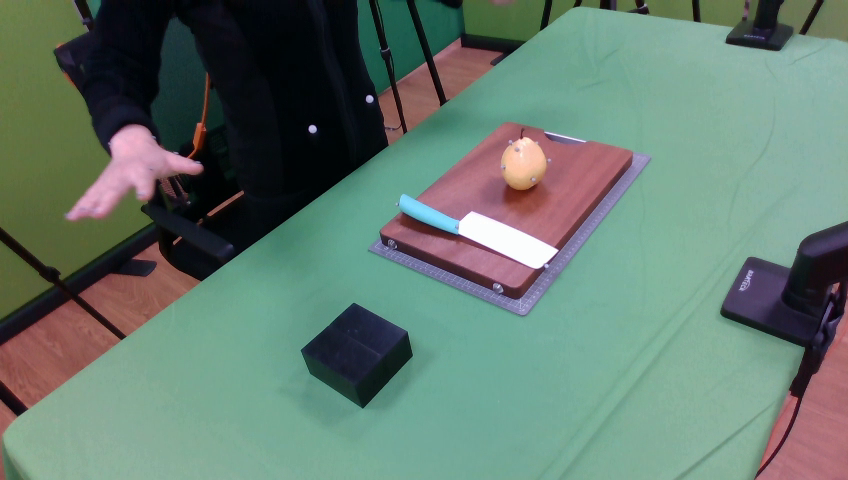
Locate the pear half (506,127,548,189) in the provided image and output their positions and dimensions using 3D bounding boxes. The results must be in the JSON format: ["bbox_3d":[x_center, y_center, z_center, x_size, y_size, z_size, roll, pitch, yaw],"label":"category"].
[{"bbox_3d":[0.174,-0.145,1.011,0.076,0.110,0.056,27,52,30],"label":"pear half"}]

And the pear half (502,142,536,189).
[{"bbox_3d":[0.152,-0.119,1.000,0.070,0.088,0.031,28,53,30],"label":"pear half"}]

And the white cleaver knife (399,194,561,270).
[{"bbox_3d":[0.079,-0.019,0.958,0.284,0.021,0.066,26,46,28],"label":"white cleaver knife"}]
